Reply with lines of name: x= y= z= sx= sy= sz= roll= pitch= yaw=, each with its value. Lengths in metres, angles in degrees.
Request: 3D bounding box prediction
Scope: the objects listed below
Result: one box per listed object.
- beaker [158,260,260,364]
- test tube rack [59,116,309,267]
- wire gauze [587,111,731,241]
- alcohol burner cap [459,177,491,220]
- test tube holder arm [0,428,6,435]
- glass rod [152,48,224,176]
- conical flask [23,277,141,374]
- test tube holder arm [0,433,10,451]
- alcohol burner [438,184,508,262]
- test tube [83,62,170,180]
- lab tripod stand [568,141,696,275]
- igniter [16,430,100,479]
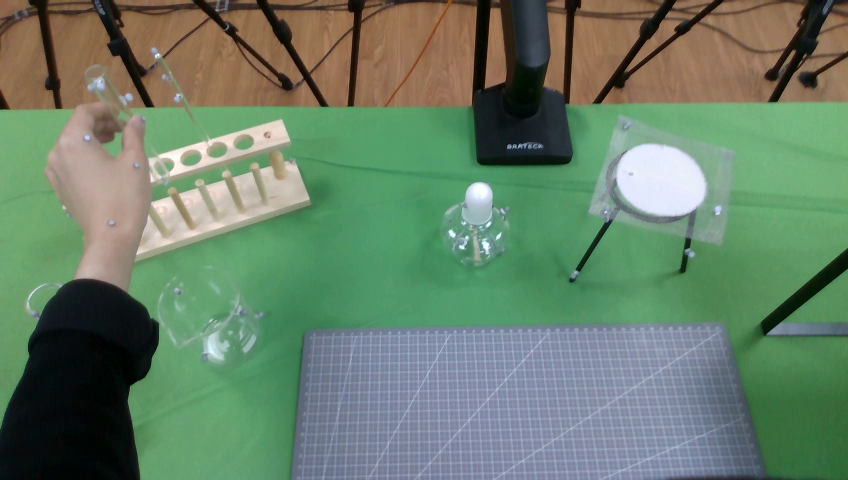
beaker: x=-0.210 y=0.079 z=0.603 sx=0.074 sy=0.101 sz=0.083 roll=13 pitch=62 yaw=8
test tube rack: x=-0.263 y=-0.055 z=0.686 sx=0.242 sy=0.086 sz=0.066 roll=-19 pitch=62 yaw=-11
wire gauze: x=0.231 y=-0.064 z=0.587 sx=0.121 sy=0.011 sz=0.124 roll=19 pitch=63 yaw=8
alcohol burner cap: x=0.053 y=-0.045 z=0.623 sx=0.034 sy=0.048 sz=0.033 roll=0 pitch=59 yaw=0
test tube holder arm: x=-0.440 y=0.227 z=0.510 sx=0.013 sy=0.015 sz=0.178 roll=40 pitch=67 yaw=21
glass rod: x=-0.241 y=-0.119 z=0.646 sx=0.008 sy=0.201 sz=0.008 roll=-3 pitch=54 yaw=5
conical flask: x=-0.336 y=0.078 z=0.589 sx=0.075 sy=0.123 sz=0.074 roll=0 pitch=60 yaw=1
test tube holder arm: x=-0.405 y=0.203 z=0.524 sx=0.088 sy=0.015 sz=0.010 roll=-40 pitch=67 yaw=-21
alcohol burner: x=0.054 y=-0.026 z=0.655 sx=0.078 sy=0.120 sz=0.077 roll=1 pitch=59 yaw=-1
test tube: x=-0.256 y=-0.098 z=0.532 sx=0.017 sy=0.151 sz=0.017 roll=0 pitch=62 yaw=-1
lab tripod stand: x=0.224 y=-0.029 z=0.645 sx=0.148 sy=0.132 sz=0.147 roll=1 pitch=59 yaw=-1
igniter: x=-0.394 y=0.264 z=0.485 sx=0.057 sy=0.025 sz=0.276 roll=40 pitch=65 yaw=18
